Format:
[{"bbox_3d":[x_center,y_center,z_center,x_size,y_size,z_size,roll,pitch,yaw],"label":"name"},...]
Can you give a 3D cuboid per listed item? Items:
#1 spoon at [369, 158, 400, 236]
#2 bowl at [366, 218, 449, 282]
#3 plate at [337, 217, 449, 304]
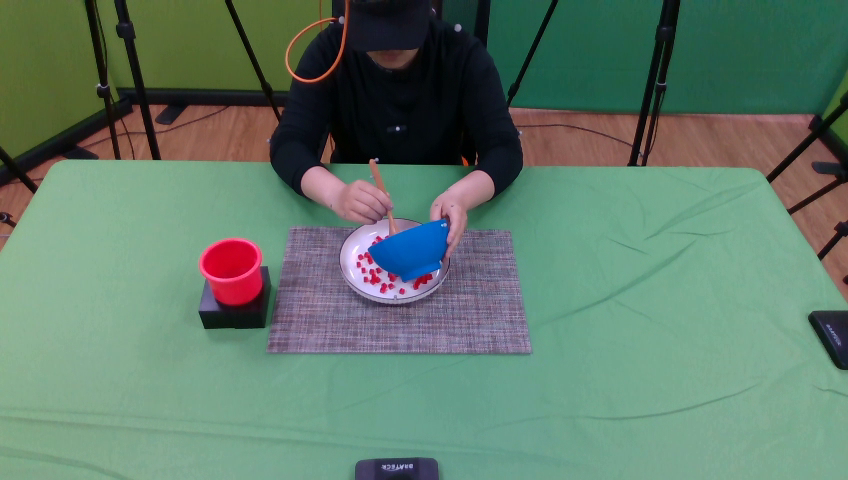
[{"bbox_3d":[-0.065,-0.053,1.081,0.041,0.194,0.021,-13,9,22],"label":"spoon"},{"bbox_3d":[-0.017,0.025,1.059,0.151,0.151,0.076,-19,85,-20],"label":"bowl"},{"bbox_3d":[-0.058,0.042,1.136,0.208,0.039,0.206,2,46,-2],"label":"plate"}]
